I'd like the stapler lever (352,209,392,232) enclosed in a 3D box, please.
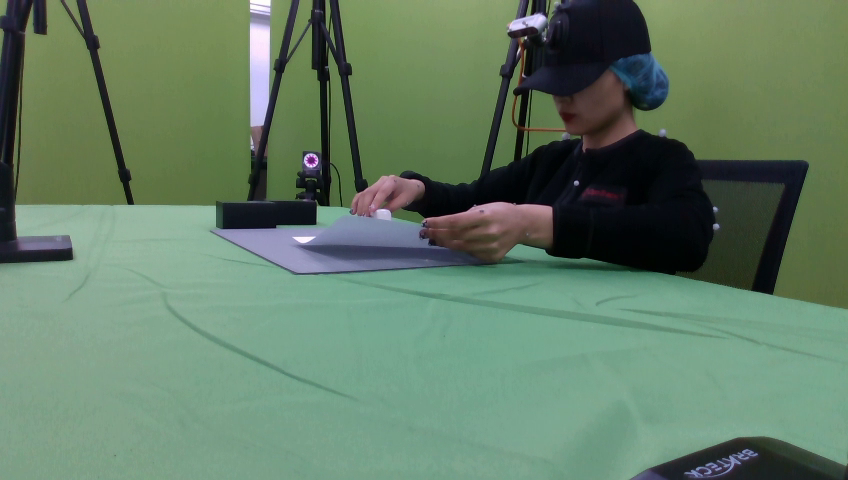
[{"bbox_3d":[-0.092,-0.038,1.059,0.027,0.040,0.117,1,7,-30],"label":"stapler lever"}]

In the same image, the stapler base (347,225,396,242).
[{"bbox_3d":[-0.092,-0.014,1.061,0.041,0.024,0.130,1,5,-30],"label":"stapler base"}]
